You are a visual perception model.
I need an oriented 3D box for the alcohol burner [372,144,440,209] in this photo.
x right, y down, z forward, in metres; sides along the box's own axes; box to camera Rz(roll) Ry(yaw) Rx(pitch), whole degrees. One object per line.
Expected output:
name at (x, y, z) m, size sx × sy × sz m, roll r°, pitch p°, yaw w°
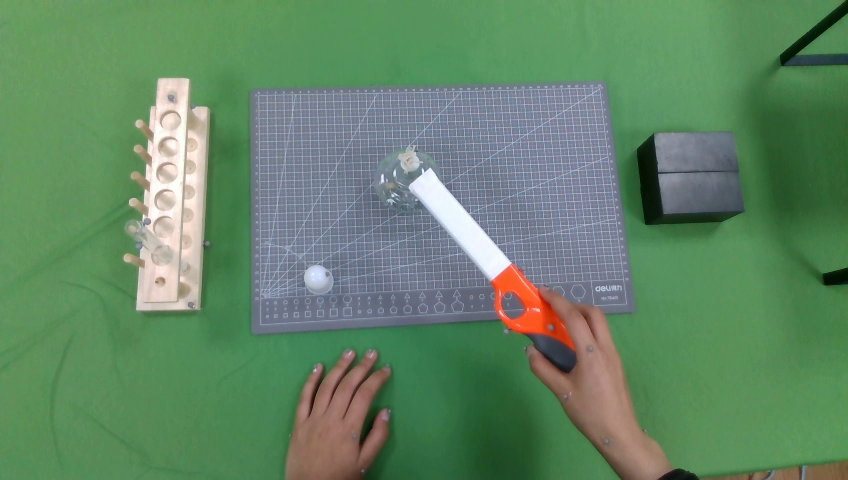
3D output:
alcohol burner at (-0.019, -0.076, 0.679) m, size 0.078 × 0.119 × 0.077 m, roll 1°, pitch 79°, yaw -4°

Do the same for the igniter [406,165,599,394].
igniter at (0.081, 0.039, 0.609) m, size 0.057 × 0.025 × 0.276 m, roll -40°, pitch 87°, yaw -4°

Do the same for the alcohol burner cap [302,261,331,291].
alcohol burner cap at (-0.123, 0.038, 0.683) m, size 0.034 × 0.048 × 0.033 m, roll 1°, pitch 78°, yaw -5°

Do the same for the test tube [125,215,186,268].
test tube at (-0.266, 0.005, 0.609) m, size 0.017 × 0.151 × 0.017 m, roll 2°, pitch 74°, yaw -5°

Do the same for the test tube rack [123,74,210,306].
test tube rack at (-0.287, -0.052, 0.669) m, size 0.067 × 0.085 × 0.241 m, roll -1°, pitch 79°, yaw -4°
